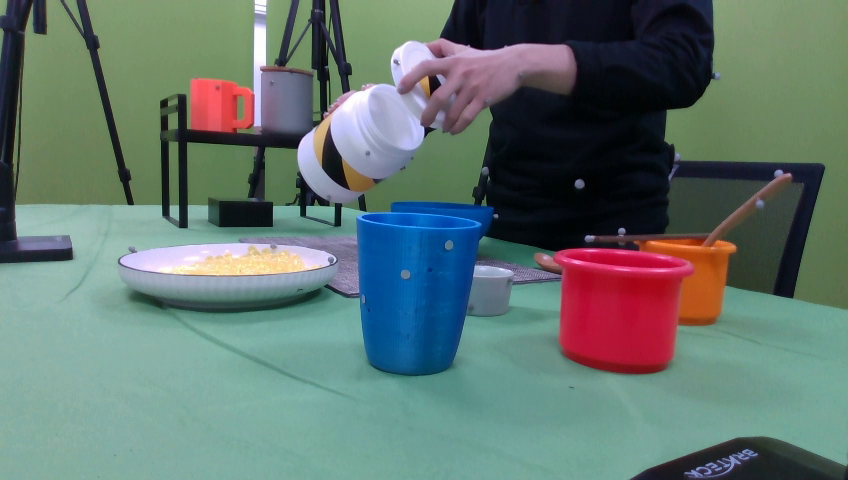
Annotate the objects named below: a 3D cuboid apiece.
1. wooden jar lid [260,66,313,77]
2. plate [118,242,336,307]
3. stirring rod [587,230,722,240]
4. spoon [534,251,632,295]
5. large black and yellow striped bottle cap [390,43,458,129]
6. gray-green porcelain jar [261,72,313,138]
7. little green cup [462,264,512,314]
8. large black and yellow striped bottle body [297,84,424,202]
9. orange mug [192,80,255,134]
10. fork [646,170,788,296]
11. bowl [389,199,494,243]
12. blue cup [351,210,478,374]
[{"bbox_3d":[-0.283,-0.339,1.244,0.108,0.020,0.108,5,9,0],"label":"wooden jar lid"},{"bbox_3d":[-0.194,0.033,0.615,0.209,0.038,0.209,2,7,0],"label":"plate"},{"bbox_3d":[0.227,-0.006,0.585,0.177,0.006,0.014,-2,7,-28],"label":"stirring rod"},{"bbox_3d":[0.194,0.038,0.753,0.042,0.021,0.193,13,3,-20],"label":"spoon"},{"bbox_3d":[0.002,-0.202,0.791,0.018,0.115,0.115,-23,-9,37],"label":"large black and yellow striped bottle cap"},{"bbox_3d":[-0.284,-0.276,1.253,0.106,0.126,0.106,2,8,0],"label":"gray-green porcelain jar"},{"bbox_3d":[0.053,0.047,0.580,0.061,0.038,0.061,3,8,0],"label":"little green cup"},{"bbox_3d":[-0.099,-0.150,0.944,0.131,0.130,0.183,-5,-16,-45],"label":"large black and yellow striped bottle body"},{"bbox_3d":[-0.388,-0.257,1.173,0.126,0.100,0.083,-1,7,9],"label":"orange mug"},{"bbox_3d":[0.256,0.004,0.543,0.028,0.018,0.207,3,-36,-10],"label":"fork"},{"bbox_3d":[0.023,-0.015,0.872,0.151,0.077,0.151,3,7,0],"label":"bowl"},{"bbox_3d":[-0.009,0.034,0.414,0.093,0.100,0.092,4,8,0],"label":"blue cup"}]
